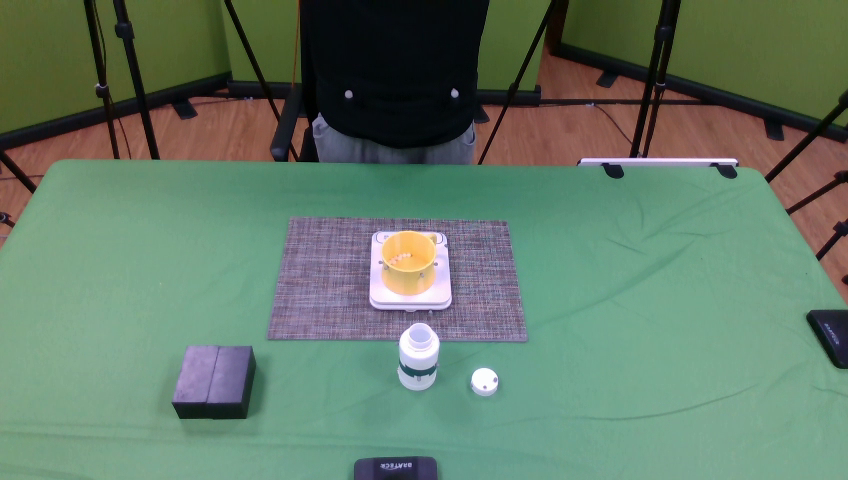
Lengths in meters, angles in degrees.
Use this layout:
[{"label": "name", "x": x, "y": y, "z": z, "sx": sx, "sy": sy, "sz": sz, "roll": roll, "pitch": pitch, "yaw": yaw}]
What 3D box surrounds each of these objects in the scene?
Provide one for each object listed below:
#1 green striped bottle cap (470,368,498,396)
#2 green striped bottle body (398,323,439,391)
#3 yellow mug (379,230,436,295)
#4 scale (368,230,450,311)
[{"label": "green striped bottle cap", "x": 0.098, "y": 0.232, "z": 0.989, "sx": 0.044, "sy": 0.020, "sz": 0.044, "roll": 2, "pitch": 43, "yaw": -1}, {"label": "green striped bottle body", "x": -0.010, "y": 0.181, "z": 0.956, "sx": 0.063, "sy": 0.120, "sz": 0.063, "roll": 2, "pitch": 46, "yaw": -2}, {"label": "yellow mug", "x": -0.020, "y": 0.030, "z": 1.089, "sx": 0.099, "sy": 0.064, "sz": 0.130, "roll": 31, "pitch": 51, "yaw": 24}, {"label": "scale", "x": -0.029, "y": 0.048, "z": 1.137, "sx": 0.149, "sy": 0.032, "sz": 0.199, "roll": 1, "pitch": 46, "yaw": -4}]
